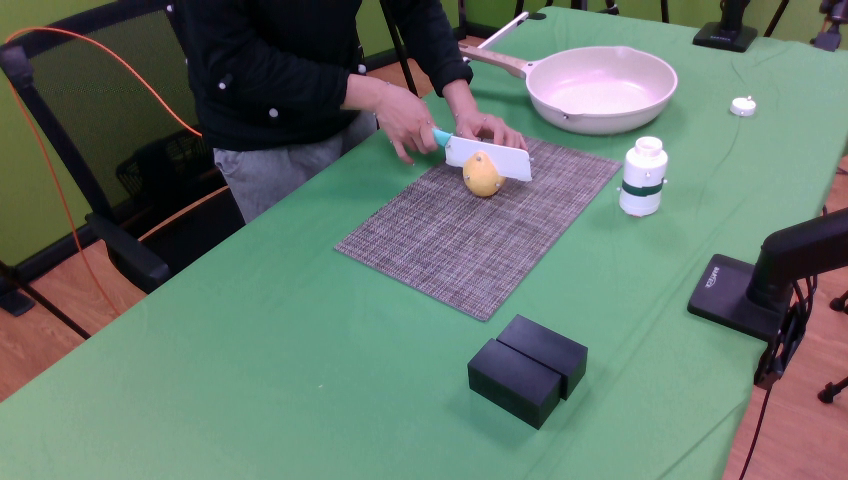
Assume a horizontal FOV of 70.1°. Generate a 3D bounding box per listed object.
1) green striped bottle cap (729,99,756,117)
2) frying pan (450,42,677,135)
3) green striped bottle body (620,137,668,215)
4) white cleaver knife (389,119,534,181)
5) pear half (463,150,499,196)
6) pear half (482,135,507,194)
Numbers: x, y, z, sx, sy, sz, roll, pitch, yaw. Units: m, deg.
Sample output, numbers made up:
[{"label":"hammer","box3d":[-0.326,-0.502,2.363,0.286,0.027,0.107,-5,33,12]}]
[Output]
[{"label":"green striped bottle cap","box3d":[0.623,-0.259,1.182,0.044,0.020,0.044,-3,40,3]},{"label":"frying pan","box3d":[0.268,-0.344,1.267,0.485,0.103,0.307,25,49,21]},{"label":"green striped bottle body","box3d":[0.350,-0.103,0.963,0.063,0.120,0.063,-4,41,4]},{"label":"white cleaver knife","box3d":[0.056,-0.153,1.030,0.284,0.066,0.021,20,43,29]},{"label":"pear half","box3d":[0.092,-0.108,1.023,0.070,0.088,0.031,17,48,23]},{"label":"pear half","box3d":[0.110,-0.138,1.039,0.076,0.110,0.056,17,46,22]}]
